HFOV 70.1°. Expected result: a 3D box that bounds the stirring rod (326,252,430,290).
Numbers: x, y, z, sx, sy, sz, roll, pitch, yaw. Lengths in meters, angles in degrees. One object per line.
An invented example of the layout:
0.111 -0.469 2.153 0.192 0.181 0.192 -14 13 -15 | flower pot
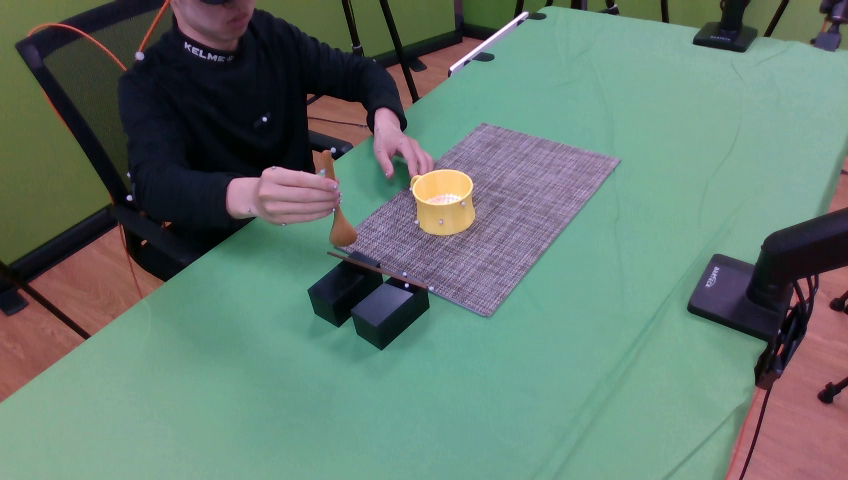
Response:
-0.068 0.043 0.859 0.175 0.006 0.014 17 11 26 | stirring rod

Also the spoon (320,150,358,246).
-0.118 -0.050 0.800 0.042 0.194 0.021 -11 50 -6 | spoon

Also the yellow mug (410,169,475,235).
0.022 -0.070 1.007 0.129 0.064 0.100 29 52 36 | yellow mug
